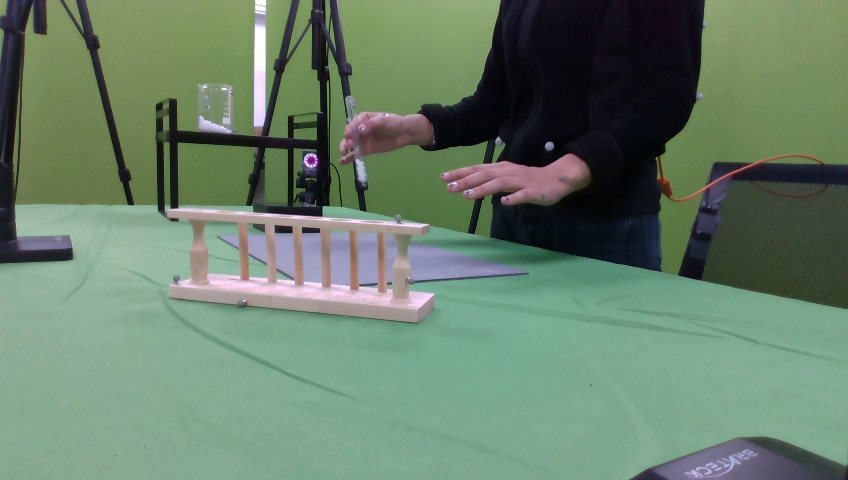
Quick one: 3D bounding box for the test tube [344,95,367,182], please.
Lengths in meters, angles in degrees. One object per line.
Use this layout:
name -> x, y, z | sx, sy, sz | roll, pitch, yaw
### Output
test tube -> -0.116, -0.171, 1.023 | 0.017, 0.150, 0.017 | -10, -6, -1

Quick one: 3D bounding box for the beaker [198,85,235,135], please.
beaker -> -0.439, -0.273, 1.275 | 0.074, 0.100, 0.084 | 5, 8, 19

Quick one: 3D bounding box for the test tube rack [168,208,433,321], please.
test tube rack -> -0.116, 0.017, 0.574 | 0.242, 0.085, 0.067 | 4, 8, 13
